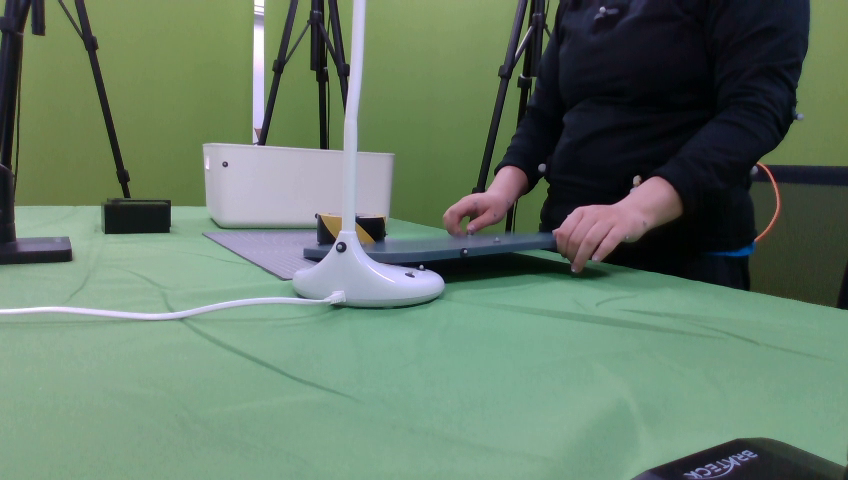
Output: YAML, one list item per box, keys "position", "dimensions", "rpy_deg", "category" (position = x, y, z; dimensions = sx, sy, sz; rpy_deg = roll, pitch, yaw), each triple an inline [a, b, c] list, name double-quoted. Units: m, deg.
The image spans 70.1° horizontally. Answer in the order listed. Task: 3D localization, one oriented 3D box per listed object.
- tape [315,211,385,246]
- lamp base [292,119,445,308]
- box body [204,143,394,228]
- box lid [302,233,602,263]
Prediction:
- position: [-0.119, -0.017, 0.973]
  dimensions: [0.117, 0.052, 0.117]
  rpy_deg: [2, 7, 0]
  category: "tape"
- position: [-0.056, -0.030, 0.616]
  dimensions: [0.160, 0.180, 0.179]
  rpy_deg: [3, 10, 8]
  category: "lamp base"
- position: [-0.271, -0.117, 1.291]
  dimensions: [0.366, 0.160, 0.253]
  rpy_deg: [-1, 8, -25]
  category: "box body"
- position: [0.041, 0.008, 0.853]
  dimensions: [0.373, 0.015, 0.262]
  rpy_deg: [-5, 3, -37]
  category: "box lid"
